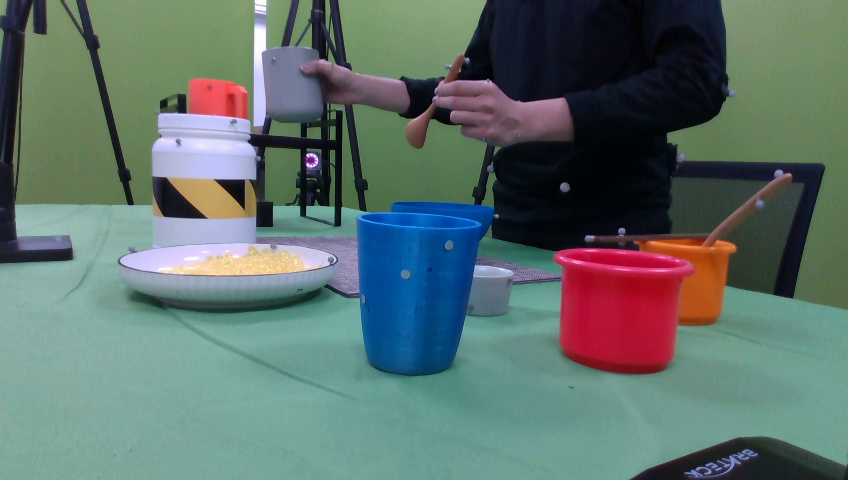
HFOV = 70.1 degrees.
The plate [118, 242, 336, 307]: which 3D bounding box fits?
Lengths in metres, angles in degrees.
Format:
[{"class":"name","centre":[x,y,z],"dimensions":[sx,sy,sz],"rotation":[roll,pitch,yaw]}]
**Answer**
[{"class":"plate","centre":[-0.194,0.033,0.615],"dimensions":[0.209,0.038,0.209],"rotation":[2,7,0]}]

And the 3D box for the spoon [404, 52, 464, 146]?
[{"class":"spoon","centre":[0.013,-0.202,0.875],"dimensions":[0.022,0.041,0.193],"rotation":[-31,-14,-40]}]

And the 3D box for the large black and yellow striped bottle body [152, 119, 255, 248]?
[{"class":"large black and yellow striped bottle body","centre":[-0.296,-0.070,0.819],"dimensions":[0.131,0.184,0.130],"rotation":[2,7,0]}]

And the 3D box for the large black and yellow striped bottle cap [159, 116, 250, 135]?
[{"class":"large black and yellow striped bottle cap","centre":[-0.292,-0.153,0.810],"dimensions":[0.115,0.019,0.115],"rotation":[3,9,0]}]

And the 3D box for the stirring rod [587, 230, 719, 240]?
[{"class":"stirring rod","centre":[0.226,-0.005,0.587],"dimensions":[0.177,0.006,0.014],"rotation":[-2,10,-29]}]

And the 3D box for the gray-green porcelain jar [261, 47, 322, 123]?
[{"class":"gray-green porcelain jar","centre":[-0.249,-0.290,1.147],"dimensions":[0.106,0.126,0.106],"rotation":[-5,6,1]}]

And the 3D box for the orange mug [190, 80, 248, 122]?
[{"class":"orange mug","centre":[-0.394,-0.257,1.173],"dimensions":[0.126,0.100,0.084],"rotation":[1,6,25]}]

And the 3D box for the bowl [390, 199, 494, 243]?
[{"class":"bowl","centre":[0.024,-0.015,0.872],"dimensions":[0.151,0.077,0.151],"rotation":[3,7,0]}]

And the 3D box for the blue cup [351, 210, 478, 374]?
[{"class":"blue cup","centre":[-0.009,0.034,0.414],"dimensions":[0.093,0.100,0.092],"rotation":[4,8,0]}]

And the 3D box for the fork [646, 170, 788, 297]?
[{"class":"fork","centre":[0.256,0.004,0.543],"dimensions":[0.028,0.018,0.207],"rotation":[3,-36,-9]}]

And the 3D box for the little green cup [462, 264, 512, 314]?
[{"class":"little green cup","centre":[0.053,0.047,0.580],"dimensions":[0.061,0.038,0.061],"rotation":[3,8,0]}]

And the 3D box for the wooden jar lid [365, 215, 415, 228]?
[{"class":"wooden jar lid","centre":[-0.073,-0.040,1.291],"dimensions":[0.108,0.020,0.108],"rotation":[3,8,0]}]
